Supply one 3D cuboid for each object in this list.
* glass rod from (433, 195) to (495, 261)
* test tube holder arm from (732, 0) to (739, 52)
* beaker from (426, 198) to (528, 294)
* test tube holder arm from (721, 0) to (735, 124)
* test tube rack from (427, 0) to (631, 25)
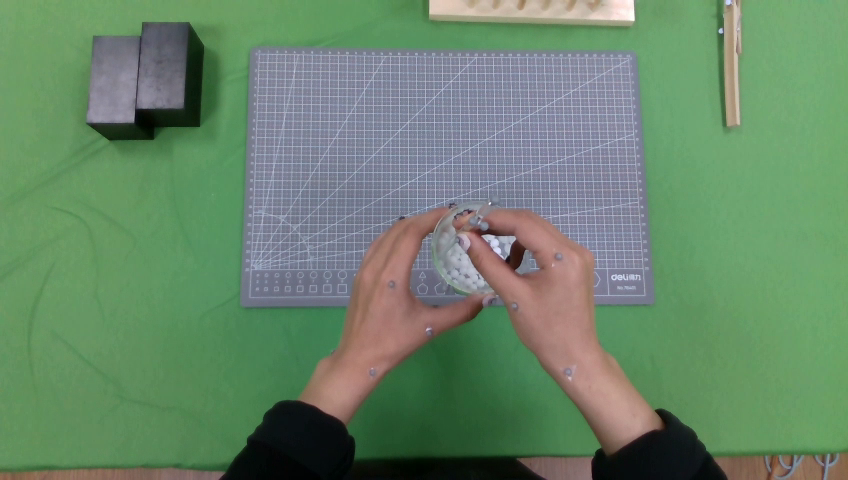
[{"bbox_3d":[0.025,-0.003,0.461,0.008,0.200,0.008,2,77,-9],"label":"glass rod"},{"bbox_3d":[0.368,-0.266,0.725,0.010,0.015,0.087,12,78,-30],"label":"test tube holder arm"},{"bbox_3d":[0.043,0.011,0.521,0.084,0.100,0.074,21,84,1],"label":"beaker"},{"bbox_3d":[0.359,-0.223,0.715,0.013,0.015,0.177,11,79,-30],"label":"test tube holder arm"},{"bbox_3d":[0.126,-0.301,0.688,0.242,0.085,0.066,1,79,-2],"label":"test tube rack"}]
